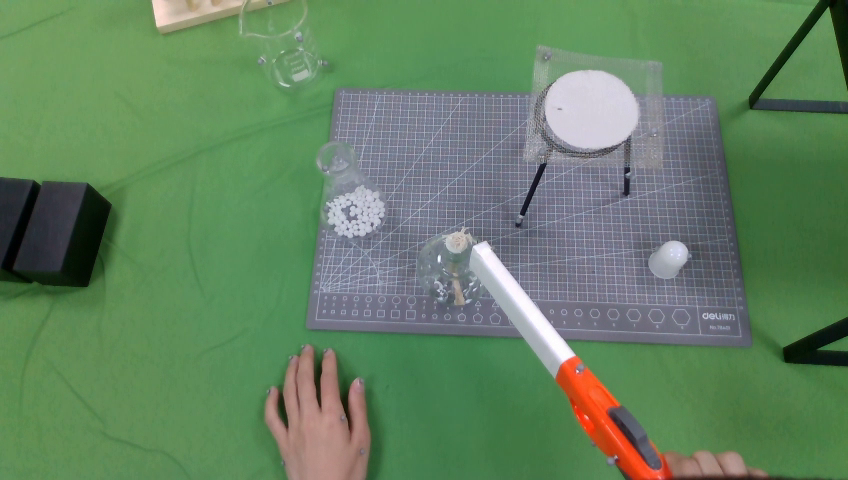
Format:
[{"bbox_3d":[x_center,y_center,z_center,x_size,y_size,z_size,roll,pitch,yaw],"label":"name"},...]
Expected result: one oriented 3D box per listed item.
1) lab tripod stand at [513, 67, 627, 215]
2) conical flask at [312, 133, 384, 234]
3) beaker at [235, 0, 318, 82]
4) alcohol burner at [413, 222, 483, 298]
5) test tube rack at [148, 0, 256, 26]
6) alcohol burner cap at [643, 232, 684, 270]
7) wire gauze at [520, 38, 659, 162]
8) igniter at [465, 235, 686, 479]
[{"bbox_3d":[0.148,-0.100,0.616,0.148,0.132,0.147,0,67,0],"label":"lab tripod stand"},{"bbox_3d":[-0.083,-0.061,0.613,0.075,0.123,0.075,-1,68,2],"label":"conical flask"},{"bbox_3d":[-0.167,-0.237,0.700,0.084,0.101,0.073,-38,72,-12],"label":"beaker"},{"bbox_3d":[0.027,0.013,0.586,0.078,0.120,0.077,0,67,0],"label":"alcohol burner"},{"bbox_3d":[-0.236,-0.351,0.753,0.242,0.086,0.066,-17,69,-5],"label":"test tube rack"},{"bbox_3d":[0.248,0.009,0.621,0.034,0.048,0.033,-1,69,2],"label":"alcohol burner cap"},{"bbox_3d":[0.154,-0.129,0.555,0.121,0.011,0.124,8,69,3],"label":"wire gauze"},{"bbox_3d":[0.111,0.100,0.459,0.025,0.058,0.273,-22,55,-20],"label":"igniter"}]
